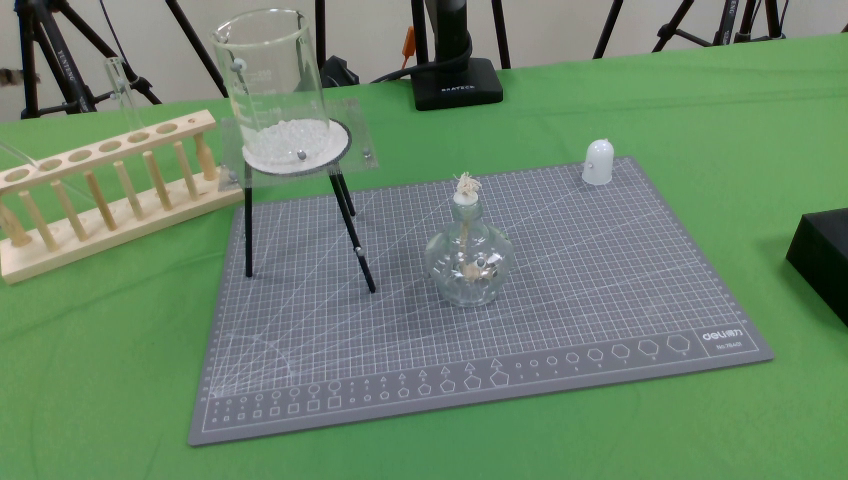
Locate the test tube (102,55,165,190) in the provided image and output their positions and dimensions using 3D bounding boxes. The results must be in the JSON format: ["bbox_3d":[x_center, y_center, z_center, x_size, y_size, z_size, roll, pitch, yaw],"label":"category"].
[{"bbox_3d":[-0.299,-0.117,0.629,0.017,0.151,0.017,-2,38,2],"label":"test tube"}]

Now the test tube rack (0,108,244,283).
[{"bbox_3d":[-0.324,-0.052,0.632,0.243,0.086,0.066,-24,44,-21],"label":"test tube rack"}]

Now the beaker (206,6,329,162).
[{"bbox_3d":[-0.118,-0.119,0.471,0.083,0.101,0.073,13,43,21],"label":"beaker"}]

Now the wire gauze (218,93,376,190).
[{"bbox_3d":[-0.109,-0.083,0.504,0.125,0.011,0.120,-13,39,-5],"label":"wire gauze"}]

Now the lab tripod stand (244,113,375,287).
[{"bbox_3d":[-0.104,-0.034,0.547,0.148,0.133,0.147,-3,43,3],"label":"lab tripod stand"}]

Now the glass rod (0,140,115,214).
[{"bbox_3d":[-0.385,-0.078,0.582,0.008,0.202,0.008,-18,51,24],"label":"glass rod"}]

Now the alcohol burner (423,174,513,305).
[{"bbox_3d":[0.036,-0.004,0.512,0.078,0.120,0.077,-3,39,3],"label":"alcohol burner"}]

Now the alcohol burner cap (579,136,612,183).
[{"bbox_3d":[0.186,-0.089,0.652,0.034,0.048,0.033,-3,41,3],"label":"alcohol burner cap"}]
